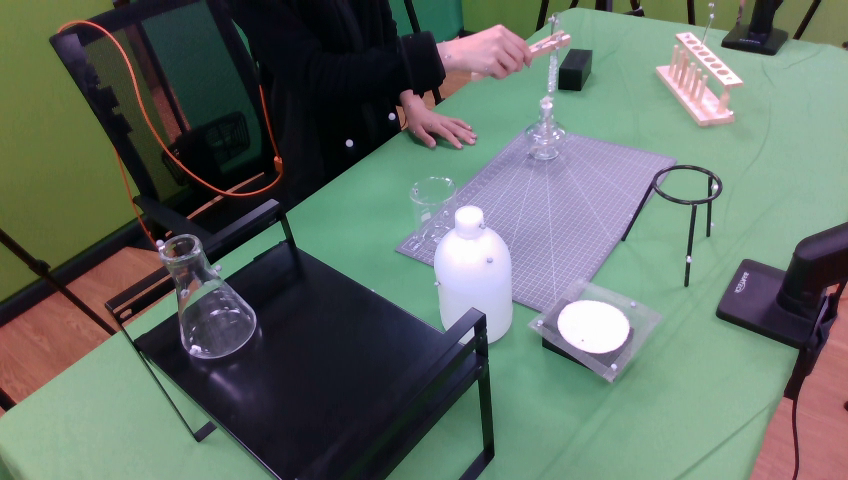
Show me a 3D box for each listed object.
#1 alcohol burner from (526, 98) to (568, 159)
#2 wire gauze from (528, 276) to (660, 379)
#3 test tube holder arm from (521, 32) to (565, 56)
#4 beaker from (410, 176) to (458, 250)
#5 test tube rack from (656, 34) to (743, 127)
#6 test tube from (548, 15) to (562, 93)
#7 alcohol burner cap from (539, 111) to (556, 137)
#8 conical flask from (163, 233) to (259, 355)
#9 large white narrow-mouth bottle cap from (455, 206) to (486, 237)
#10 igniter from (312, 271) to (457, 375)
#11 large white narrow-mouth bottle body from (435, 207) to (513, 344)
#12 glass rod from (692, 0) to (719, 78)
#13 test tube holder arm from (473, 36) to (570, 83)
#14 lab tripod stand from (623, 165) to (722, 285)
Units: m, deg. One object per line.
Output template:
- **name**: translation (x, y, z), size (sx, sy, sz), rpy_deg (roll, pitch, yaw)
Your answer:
- **alcohol burner**: translation (0.228, -0.210, 1.118), size (0.078, 0.119, 0.077), rpy_deg (-5, 43, 5)
- **wire gauze**: translation (0.214, 0.103, 0.763), size (0.124, 0.011, 0.122), rpy_deg (30, 52, 35)
- **test tube holder arm**: translation (0.194, -0.315, 0.986), size (0.088, 0.015, 0.010), rpy_deg (-32, 53, -18)
- **beaker**: translation (0.022, -0.041, 0.964), size (0.073, 0.101, 0.084), rpy_deg (28, 51, 35)
- **test tube rack**: translation (0.553, -0.330, 1.233), size (0.067, 0.085, 0.241), rpy_deg (-7, 40, 2)
- **test tube**: translation (0.218, -0.307, 1.010), size (0.017, 0.151, 0.017), rpy_deg (-4, 53, 6)
- **alcohol burner cap**: translation (0.243, -0.232, 1.197), size (0.034, 0.048, 0.033), rpy_deg (-5, 38, 4)
- **conical flask**: translation (-0.216, 0.051, 0.601), size (0.075, 0.122, 0.075), rpy_deg (-4, 40, 4)
- **large white narrow-mouth bottle cap**: translation (0.056, -0.023, 0.734), size (0.038, 0.024, 0.037), rpy_deg (-4, 41, 4)
- **igniter**: translation (-0.068, 0.111, 0.859), size (0.274, 0.025, 0.057), rpy_deg (27, 61, 34)
- **large white narrow-mouth bottle body**: translation (0.065, 0.041, 0.791), size (0.102, 0.195, 0.101), rpy_deg (-4, 41, 4)
- **glass rod**: translation (0.561, -0.401, 1.214), size (0.008, 0.200, 0.008), rpy_deg (-1, 48, 2)
- **test tube holder arm**: translation (0.158, -0.291, 0.971), size (0.179, 0.015, 0.013), rpy_deg (-26, 51, -13)
- **lab tripod stand**: translation (0.365, -0.030, 0.875), size (0.148, 0.132, 0.147), rpy_deg (-6, 41, 6)
